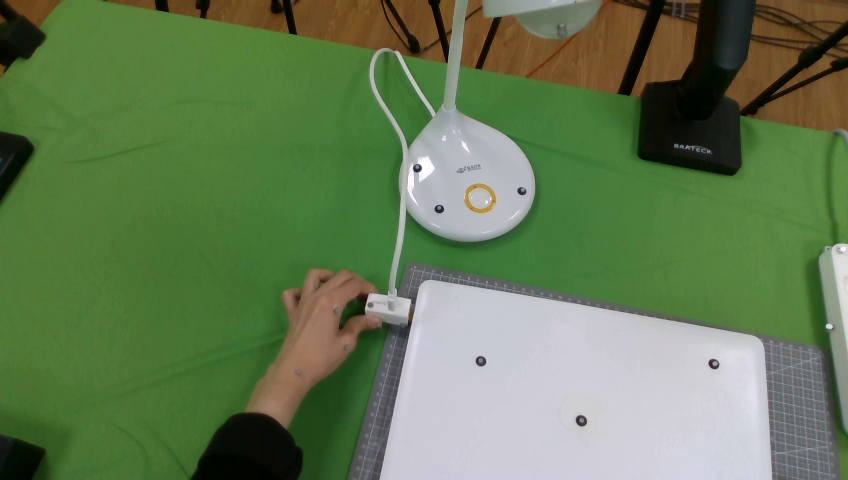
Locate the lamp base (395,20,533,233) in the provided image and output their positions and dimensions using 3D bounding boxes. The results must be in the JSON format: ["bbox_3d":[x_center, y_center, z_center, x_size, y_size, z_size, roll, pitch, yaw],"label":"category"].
[{"bbox_3d":[0.042,-0.124,0.642,0.161,0.181,0.177,-24,62,-14],"label":"lamp base"}]

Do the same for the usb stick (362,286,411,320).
[{"bbox_3d":[-0.033,0.065,0.617,0.059,0.027,0.021,11,56,0],"label":"usb stick"}]

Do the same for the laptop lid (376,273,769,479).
[{"bbox_3d":[0.145,0.164,0.572,0.356,0.013,0.240,11,65,4],"label":"laptop lid"}]

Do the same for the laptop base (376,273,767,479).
[{"bbox_3d":[0.146,0.167,0.583,0.354,0.023,0.234,9,66,3],"label":"laptop base"}]

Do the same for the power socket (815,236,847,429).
[{"bbox_3d":[0.456,0.094,0.622,0.072,0.033,0.225,10,62,2],"label":"power socket"}]

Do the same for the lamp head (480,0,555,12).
[{"bbox_3d":[0.079,-0.211,0.373,0.112,0.111,0.123,-17,107,-10],"label":"lamp head"}]
